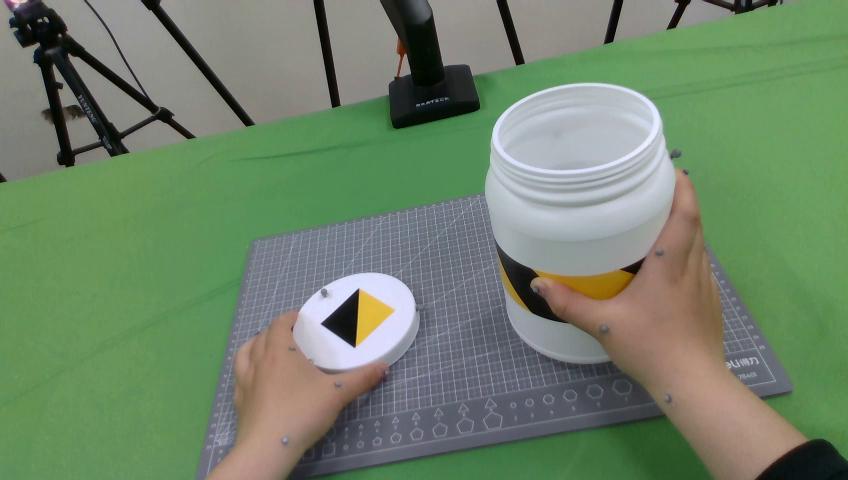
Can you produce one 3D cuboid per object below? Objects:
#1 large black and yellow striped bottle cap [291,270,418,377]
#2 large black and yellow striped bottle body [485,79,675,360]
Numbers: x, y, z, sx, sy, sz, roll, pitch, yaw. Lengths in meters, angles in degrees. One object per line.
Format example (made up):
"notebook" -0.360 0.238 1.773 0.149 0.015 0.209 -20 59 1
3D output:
"large black and yellow striped bottle cap" -0.063 0.072 0.548 0.115 0.019 0.114 -7 41 7
"large black and yellow striped bottle body" 0.117 -0.012 0.457 0.130 0.186 0.129 -9 42 8
